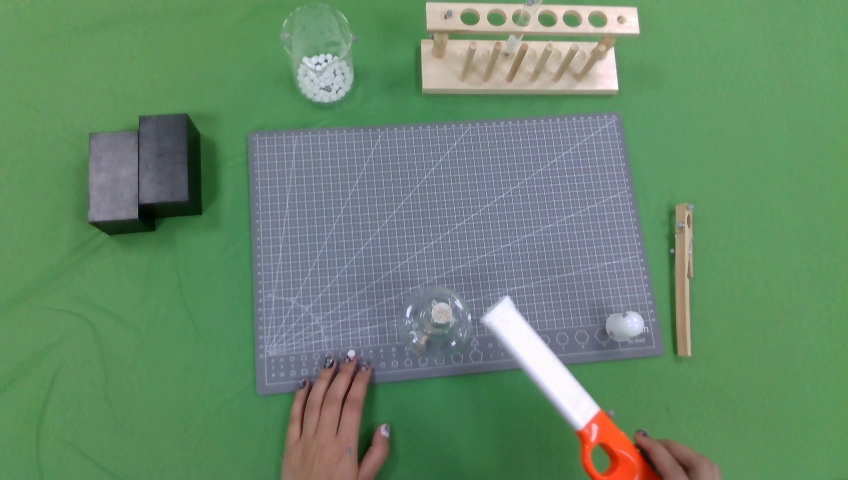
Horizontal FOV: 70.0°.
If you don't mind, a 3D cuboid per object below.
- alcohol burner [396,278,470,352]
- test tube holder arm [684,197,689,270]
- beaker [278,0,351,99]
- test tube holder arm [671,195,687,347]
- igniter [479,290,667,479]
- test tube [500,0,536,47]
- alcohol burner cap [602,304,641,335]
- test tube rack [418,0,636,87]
[{"bbox_3d":[0.011,0.074,0.618,0.078,0.119,0.077,2,75,-6],"label":"alcohol burner"},{"bbox_3d":[0.305,-0.008,0.716,0.010,0.015,0.087,17,73,-37],"label":"test tube holder arm"},{"bbox_3d":[-0.119,-0.209,0.681,0.074,0.100,0.083,-2,77,-5],"label":"beaker"},{"bbox_3d":[0.296,0.035,0.703,0.013,0.015,0.177,15,75,-37],"label":"test tube holder arm"},{"bbox_3d":[0.147,0.159,0.532,0.057,0.025,0.276,-40,91,-17],"label":"igniter"},{"bbox_3d":[0.110,-0.255,0.668,0.017,0.150,0.017,2,78,-8],"label":"test tube"},{"bbox_3d":[0.221,0.086,0.671,0.034,0.048,0.033,1,76,-5],"label":"alcohol burner cap"},{"bbox_3d":[0.117,-0.231,0.715,0.243,0.085,0.066,-1,77,-5],"label":"test tube rack"}]
